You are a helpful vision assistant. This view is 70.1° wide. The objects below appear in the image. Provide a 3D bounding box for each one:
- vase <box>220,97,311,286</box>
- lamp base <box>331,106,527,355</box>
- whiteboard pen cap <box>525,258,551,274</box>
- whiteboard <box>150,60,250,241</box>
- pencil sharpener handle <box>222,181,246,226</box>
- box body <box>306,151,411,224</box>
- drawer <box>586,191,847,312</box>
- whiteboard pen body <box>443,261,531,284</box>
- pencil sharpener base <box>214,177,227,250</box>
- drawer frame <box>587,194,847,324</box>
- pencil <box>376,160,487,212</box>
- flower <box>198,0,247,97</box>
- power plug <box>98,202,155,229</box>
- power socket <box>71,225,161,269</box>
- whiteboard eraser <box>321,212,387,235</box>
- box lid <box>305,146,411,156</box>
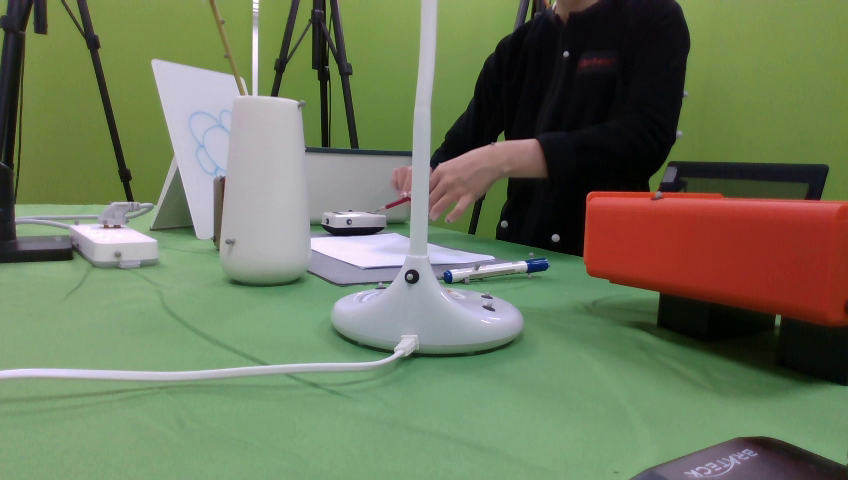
[{"bbox_3d":[-0.172,-0.052,0.662,0.098,0.200,0.098,3,8,0],"label":"vase"},{"bbox_3d":[0.006,-0.012,0.478,0.161,0.180,0.179,2,10,2],"label":"lamp base"},{"bbox_3d":[0.141,0.033,0.758,0.033,0.018,0.018,-7,11,-26],"label":"whiteboard pen cap"},{"bbox_3d":[-0.408,-0.139,1.093,0.143,0.305,0.218,-15,-1,26],"label":"whiteboard"},{"bbox_3d":[-0.289,-0.055,0.912,0.036,0.067,0.030,-3,9,-29],"label":"pencil sharpener handle"},{"bbox_3d":[-0.230,-0.126,1.371,0.366,0.160,0.253,-2,8,-33],"label":"box body"},{"bbox_3d":[0.281,0.001,0.513,0.195,0.073,0.210,-1,8,-29],"label":"drawer"},{"bbox_3d":[0.087,0.038,0.734,0.141,0.017,0.017,-5,10,-27],"label":"whiteboard pen body"},{"bbox_3d":[-0.265,-0.036,0.870,0.061,0.107,0.076,-2,8,-29],"label":"pencil sharpener base"},{"bbox_3d":[0.285,0.004,0.508,0.203,0.082,0.212,-1,6,-30],"label":"drawer frame"},{"bbox_3d":[0.010,-0.082,0.950,0.194,0.012,0.012,-23,3,11],"label":"pencil"},{"bbox_3d":[-0.187,-0.133,0.648,0.038,0.362,0.044,-1,22,43],"label":"flower"},{"bbox_3d":[-0.416,-0.027,0.848,0.073,0.052,0.035,0,8,-28],"label":"power plug"},{"bbox_3d":[-0.408,0.004,0.793,0.072,0.032,0.225,-2,8,-38],"label":"power socket"},{"bbox_3d":[-0.128,-0.031,1.108,0.113,0.042,0.055,-3,7,-38],"label":"whiteboard eraser"},{"bbox_3d":[-0.229,-0.200,1.360,0.373,0.015,0.262,-3,9,-33],"label":"box lid"}]
